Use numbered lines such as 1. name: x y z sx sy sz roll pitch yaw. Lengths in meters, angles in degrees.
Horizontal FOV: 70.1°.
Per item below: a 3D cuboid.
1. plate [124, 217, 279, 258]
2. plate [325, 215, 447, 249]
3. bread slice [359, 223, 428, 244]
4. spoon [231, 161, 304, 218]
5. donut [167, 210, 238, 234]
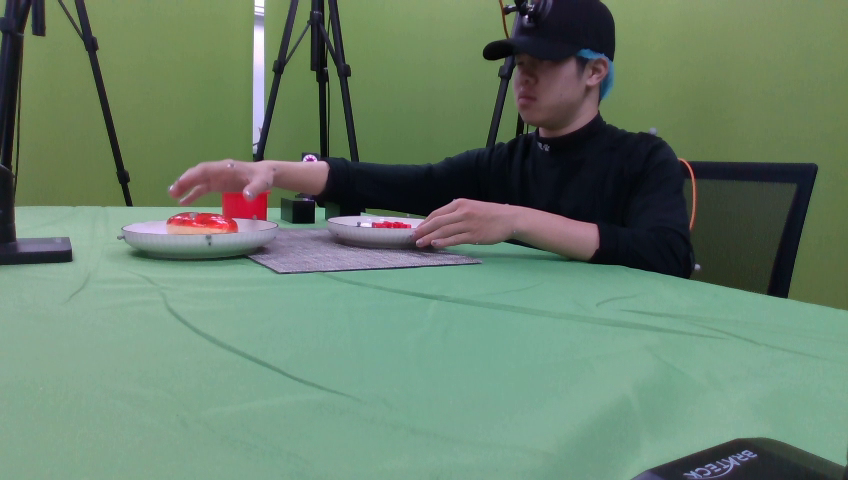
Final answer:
1. plate: -0.315 -0.004 0.871 0.208 0.039 0.207 1 8 0
2. plate: -0.065 -0.015 1.035 0.209 0.038 0.209 3 8 0
3. bread slice: -0.062 -0.012 1.035 0.105 0.019 0.131 1 10 -19
4. spoon: -0.314 -0.096 1.192 0.194 0.022 0.041 -42 13 -5
5. donut: -0.321 -0.017 0.882 0.099 0.048 0.099 3 6 0
